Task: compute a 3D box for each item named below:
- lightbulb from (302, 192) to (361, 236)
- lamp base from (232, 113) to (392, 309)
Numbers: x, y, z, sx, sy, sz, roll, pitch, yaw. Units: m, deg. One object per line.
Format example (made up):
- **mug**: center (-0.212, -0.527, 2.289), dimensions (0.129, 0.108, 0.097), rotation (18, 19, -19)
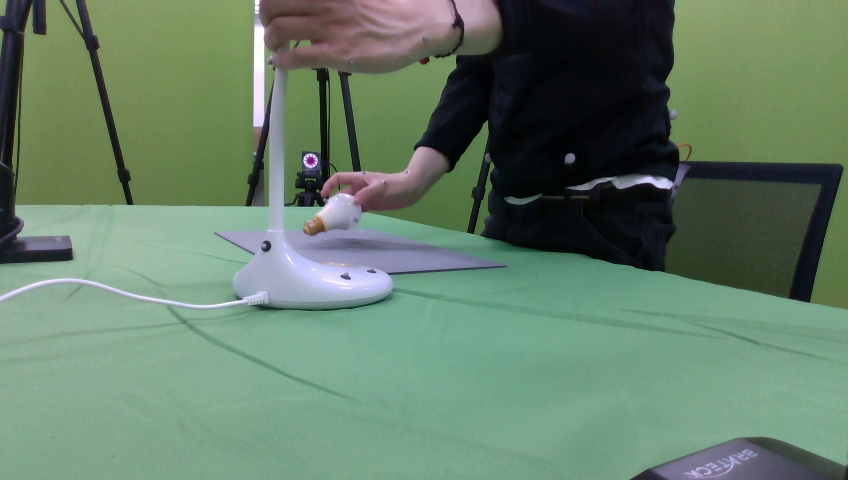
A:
- **lightbulb**: center (-0.149, -0.037, 0.962), dimensions (0.059, 0.059, 0.108), rotation (10, 33, 46)
- **lamp base**: center (-0.114, -0.032, 0.594), dimensions (0.160, 0.180, 0.179), rotation (4, 10, 18)
